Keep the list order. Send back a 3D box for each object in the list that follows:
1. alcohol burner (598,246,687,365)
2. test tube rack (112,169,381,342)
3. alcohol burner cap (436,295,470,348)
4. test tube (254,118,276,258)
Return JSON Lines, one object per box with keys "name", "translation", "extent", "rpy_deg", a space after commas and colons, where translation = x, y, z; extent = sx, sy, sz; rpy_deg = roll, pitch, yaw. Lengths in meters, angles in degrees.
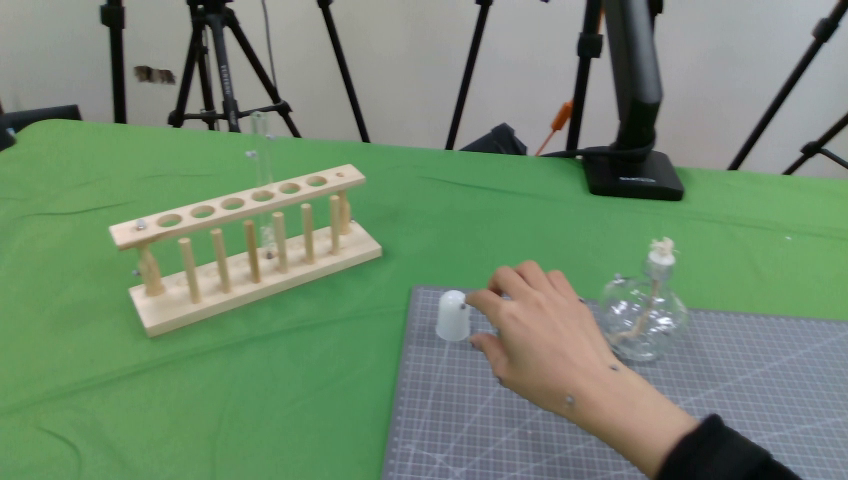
{"name": "alcohol burner", "translation": [0.197, 0.053, 0.536], "extent": [0.078, 0.120, 0.077], "rpy_deg": [3, 37, -2]}
{"name": "test tube rack", "translation": [-0.164, 0.008, 0.603], "extent": [0.243, 0.086, 0.066], "rpy_deg": [-19, 40, -28]}
{"name": "alcohol burner cap", "translation": [0.028, 0.072, 0.559], "extent": [0.034, 0.048, 0.033], "rpy_deg": [2, 36, -1]}
{"name": "test tube", "translation": [-0.156, -0.047, 0.596], "extent": [0.017, 0.151, 0.017], "rpy_deg": [5, 30, -2]}
